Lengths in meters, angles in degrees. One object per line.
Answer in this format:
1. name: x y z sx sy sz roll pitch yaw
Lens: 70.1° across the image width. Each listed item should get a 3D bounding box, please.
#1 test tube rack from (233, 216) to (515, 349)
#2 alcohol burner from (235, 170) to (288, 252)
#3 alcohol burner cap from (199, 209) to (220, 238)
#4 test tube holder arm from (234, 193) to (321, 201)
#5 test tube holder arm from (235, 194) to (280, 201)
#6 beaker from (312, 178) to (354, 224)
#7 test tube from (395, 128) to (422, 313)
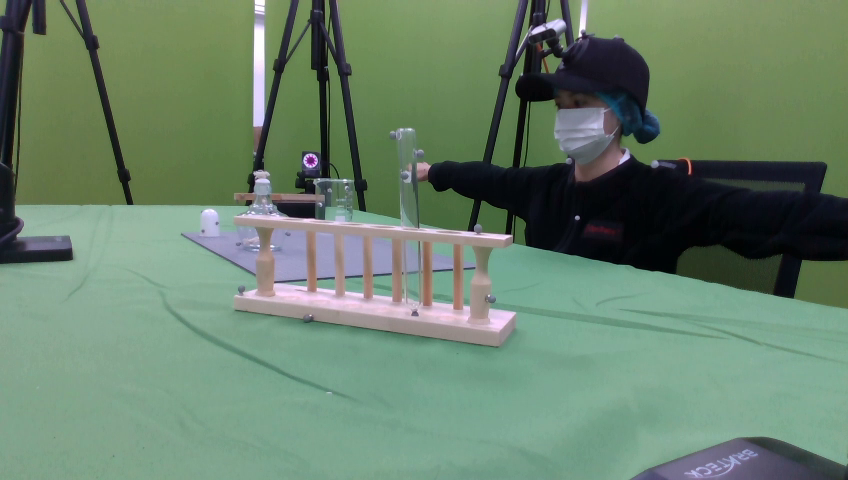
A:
1. test tube rack: -0.045 0.029 0.526 0.241 0.085 0.067 5 8 19
2. alcohol burner: -0.236 -0.042 0.882 0.078 0.119 0.078 2 9 0
3. alcohol burner cap: -0.356 -0.027 1.002 0.034 0.048 0.034 2 7 0
4. test tube holder arm: -0.299 -0.088 1.248 0.179 0.015 0.013 -1 16 -30
5. test tube holder arm: -0.336 -0.086 1.221 0.088 0.015 0.010 -1 16 -29
6. beaker: -0.174 -0.065 1.140 0.084 0.100 0.073 -5 10 -41
7. test tube: -0.013 -0.015 0.491 0.017 0.150 0.017 -2 5 1
